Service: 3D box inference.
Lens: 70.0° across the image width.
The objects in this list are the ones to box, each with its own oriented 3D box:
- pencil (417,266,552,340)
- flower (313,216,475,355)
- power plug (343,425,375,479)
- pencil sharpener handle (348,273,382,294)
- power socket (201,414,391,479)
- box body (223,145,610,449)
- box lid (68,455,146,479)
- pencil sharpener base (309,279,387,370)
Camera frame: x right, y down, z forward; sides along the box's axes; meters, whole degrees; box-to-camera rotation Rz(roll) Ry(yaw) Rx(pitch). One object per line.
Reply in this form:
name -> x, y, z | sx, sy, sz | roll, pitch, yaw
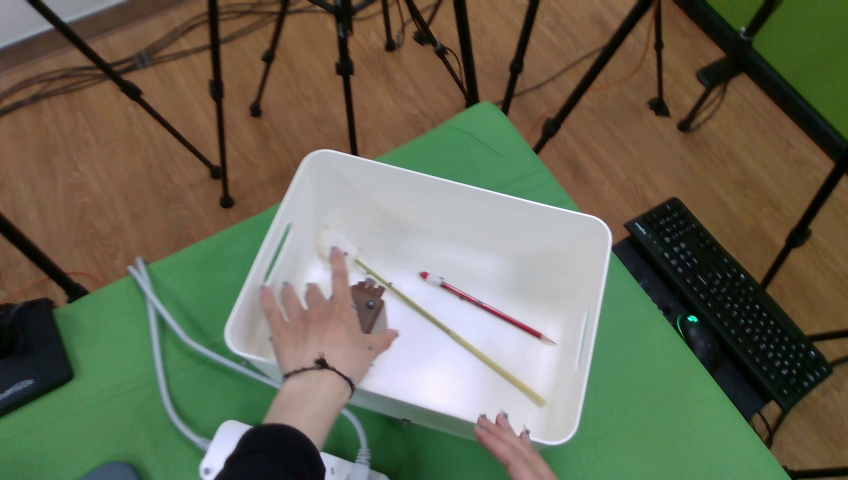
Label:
pencil -> 0.077, 0.082, 0.780 | 0.193, 0.012, 0.012 | 28, 68, 9
flower -> 0.000, 0.093, 0.773 | 0.360, 0.038, 0.044 | 39, 93, 9
power plug -> -0.062, 0.249, 0.668 | 0.035, 0.053, 0.072 | 27, 63, 15
pencil sharpener handle -> -0.065, 0.052, 0.722 | 0.036, 0.068, 0.030 | 17, 67, 14
power socket -> -0.144, 0.263, 0.685 | 0.226, 0.033, 0.072 | 18, 66, 7
box body -> -0.001, 0.072, 0.705 | 0.363, 0.161, 0.252 | 15, 65, 6
box lid -> -0.420, 0.425, 0.615 | 0.371, 0.015, 0.261 | -32, 69, -15
pencil sharpener base -> -0.085, 0.099, 0.714 | 0.061, 0.108, 0.076 | 20, 67, 9
